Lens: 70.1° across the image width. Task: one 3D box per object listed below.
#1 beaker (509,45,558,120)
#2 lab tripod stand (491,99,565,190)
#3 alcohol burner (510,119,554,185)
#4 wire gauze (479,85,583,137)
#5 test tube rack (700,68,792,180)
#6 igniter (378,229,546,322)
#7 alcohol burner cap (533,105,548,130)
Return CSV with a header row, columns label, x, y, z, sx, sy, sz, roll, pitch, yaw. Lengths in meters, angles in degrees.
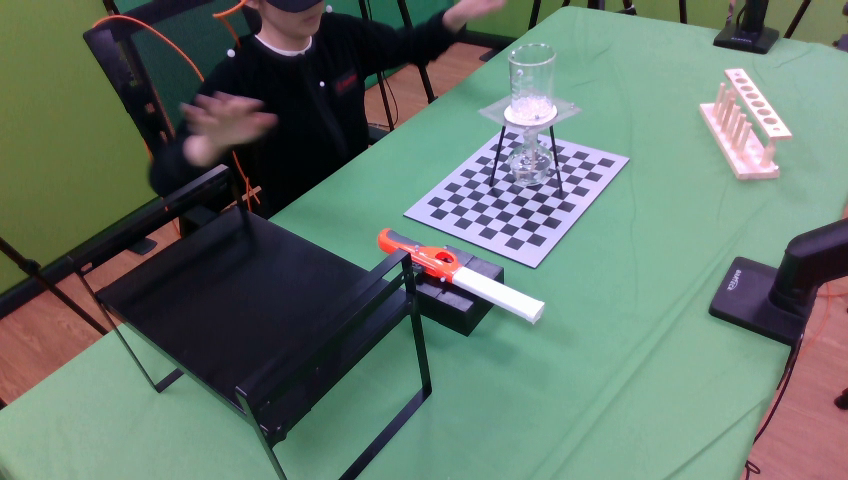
label,x,y,z,sx,sy,sz,roll,pitch,yaw
beaker,0.174,-0.253,0.977,0.074,0.101,0.083,-37,47,-28
lab tripod stand,0.184,-0.163,1.046,0.148,0.132,0.147,-5,43,5
alcohol burner,0.188,-0.157,1.054,0.078,0.119,0.077,-4,39,4
wire gauze,0.177,-0.214,1.007,0.125,0.011,0.120,-31,44,-20
test tube rack,0.572,-0.215,1.090,0.066,0.085,0.241,-3,41,7
igniter,0.041,0.043,0.843,0.274,0.025,0.057,24,47,29
alcohol burner cap,0.235,-0.251,1.217,0.034,0.048,0.033,-5,41,5
